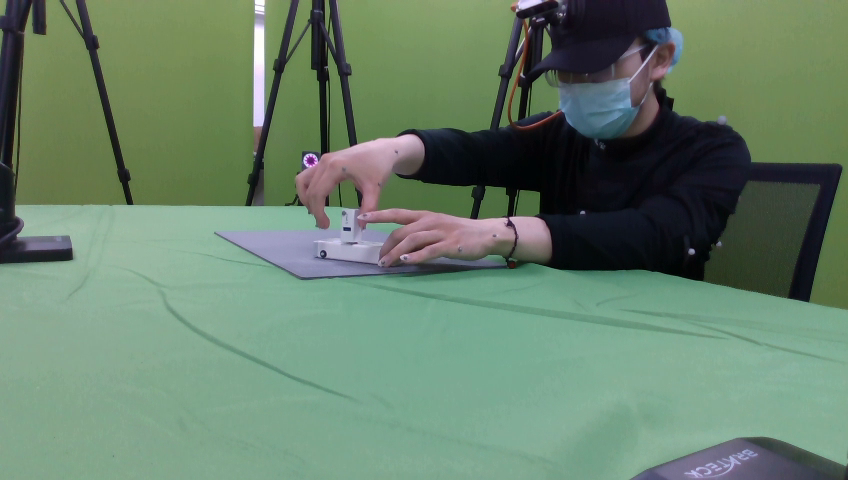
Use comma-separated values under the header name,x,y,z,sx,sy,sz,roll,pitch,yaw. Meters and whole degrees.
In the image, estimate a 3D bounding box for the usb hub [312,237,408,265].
name,x,y,z,sx,sy,sz,roll,pitch,yaw
usb hub,-0.088,0.015,0.828,0.125,0.025,0.050,5,8,22

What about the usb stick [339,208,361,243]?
name,x,y,z,sx,sy,sz,roll,pitch,yaw
usb stick,-0.100,-0.013,0.815,0.021,0.059,0.027,6,11,20
